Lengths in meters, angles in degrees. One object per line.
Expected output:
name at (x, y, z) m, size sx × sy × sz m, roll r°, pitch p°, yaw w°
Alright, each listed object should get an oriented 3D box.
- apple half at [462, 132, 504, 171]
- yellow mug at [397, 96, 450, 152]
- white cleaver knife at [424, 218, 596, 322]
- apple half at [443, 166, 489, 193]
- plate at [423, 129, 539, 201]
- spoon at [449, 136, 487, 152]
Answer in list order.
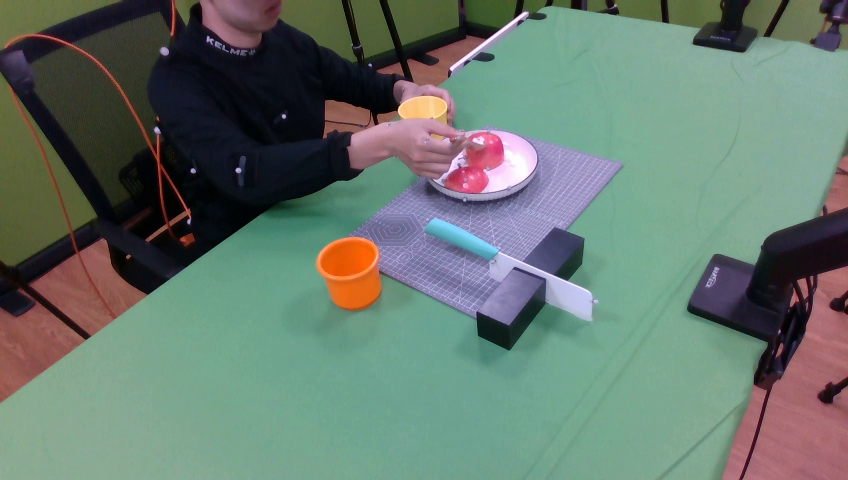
apple half at (0.109, -0.170, 1.110) m, size 0.075 × 0.053 × 0.080 m, roll -6°, pitch 40°, yaw -2°
yellow mug at (-0.004, -0.226, 1.200) m, size 0.099 × 0.064 × 0.130 m, roll 5°, pitch 43°, yaw 15°
white cleaver knife at (0.114, 0.042, 0.865) m, size 0.284 × 0.066 × 0.021 m, roll 27°, pitch 47°, yaw 28°
apple half at (0.074, -0.113, 1.063) m, size 0.081 × 0.033 × 0.081 m, roll -6°, pitch 39°, yaw 5°
plate at (0.103, -0.132, 1.092) m, size 0.209 × 0.038 × 0.208 m, roll -4°, pitch 40°, yaw 4°
spoon at (0.067, -0.159, 0.980) m, size 0.041 × 0.021 × 0.194 m, roll -1°, pitch 2°, yaw 17°
